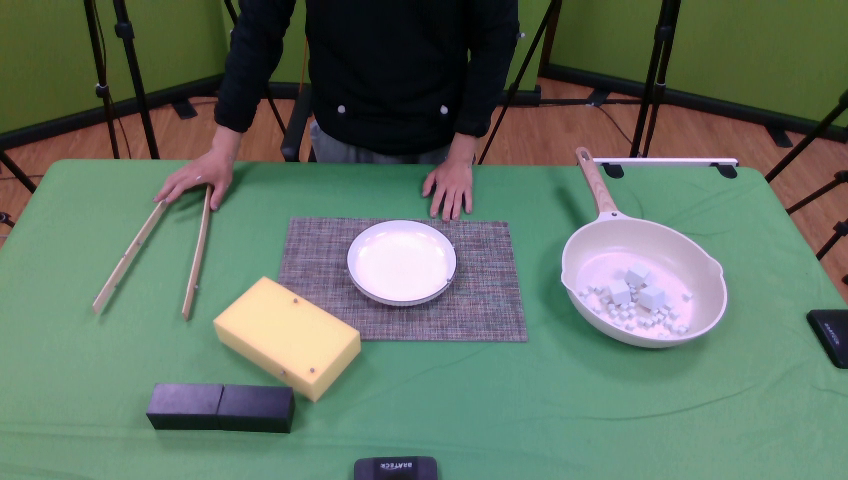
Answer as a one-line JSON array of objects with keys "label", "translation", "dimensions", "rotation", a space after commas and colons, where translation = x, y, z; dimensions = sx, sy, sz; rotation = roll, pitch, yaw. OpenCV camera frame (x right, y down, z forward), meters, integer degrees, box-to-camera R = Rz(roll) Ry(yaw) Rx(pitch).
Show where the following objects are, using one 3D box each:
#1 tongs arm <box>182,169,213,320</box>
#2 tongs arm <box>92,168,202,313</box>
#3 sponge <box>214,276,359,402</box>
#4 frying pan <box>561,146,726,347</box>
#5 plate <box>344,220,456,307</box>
[{"label": "tongs arm", "translation": [-0.436, -0.007, 1.165], "dimensions": [0.028, 0.028, 0.385], "rotation": [-6, 46, -5]}, {"label": "tongs arm", "translation": [-0.518, -0.013, 1.160], "dimensions": [0.051, 0.026, 0.382], "rotation": [6, 45, 2]}, {"label": "sponge", "translation": [-0.224, 0.158, 0.998], "dimensions": [0.206, 0.061, 0.118], "rotation": [27, 52, 18]}, {"label": "frying pan", "translation": [0.378, -0.005, 1.175], "dimensions": [0.307, 0.103, 0.484], "rotation": [-4, 55, -9]}, {"label": "plate", "translation": [-0.044, 0.047, 1.133], "dimensions": [0.208, 0.039, 0.206], "rotation": [3, 46, -2]}]
